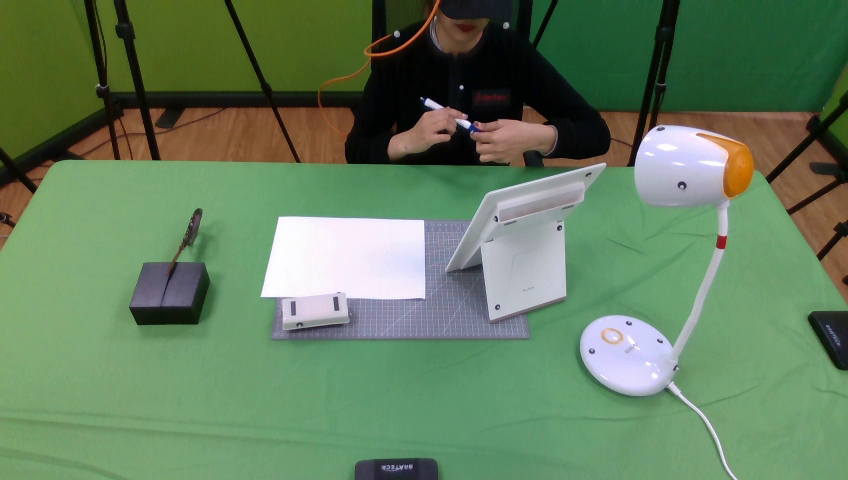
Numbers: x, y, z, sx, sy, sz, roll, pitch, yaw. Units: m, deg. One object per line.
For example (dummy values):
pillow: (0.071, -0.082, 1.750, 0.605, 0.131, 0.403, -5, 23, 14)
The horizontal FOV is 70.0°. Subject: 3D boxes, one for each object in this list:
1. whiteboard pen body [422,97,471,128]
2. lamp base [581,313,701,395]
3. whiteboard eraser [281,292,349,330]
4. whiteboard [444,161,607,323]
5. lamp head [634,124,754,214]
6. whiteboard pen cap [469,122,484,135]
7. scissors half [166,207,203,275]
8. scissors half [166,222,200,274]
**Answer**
whiteboard pen body: (0.059, -0.270, 1.307, 0.141, 0.017, 0.017, 29, 49, 2)
lamp base: (0.361, 0.144, 0.972, 0.178, 0.181, 0.160, 34, 53, 23)
whiteboard eraser: (-0.189, 0.124, 1.045, 0.113, 0.042, 0.055, -6, 46, -10)
whiteboard: (0.186, 0.025, 1.029, 0.217, 0.306, 0.143, -14, 68, -18)
lamp head: (0.351, -0.089, 0.775, 0.112, 0.113, 0.122, -30, 30, -28)
whiteboard pen cap: (0.112, -0.240, 1.306, 0.033, 0.018, 0.018, 28, 49, 2)
scissors half: (-0.436, 0.000, 1.104, 0.013, 0.040, 0.174, 21, 44, -14)
scissors half: (-0.444, 0.014, 1.116, 0.013, 0.040, 0.174, 17, 27, -10)
